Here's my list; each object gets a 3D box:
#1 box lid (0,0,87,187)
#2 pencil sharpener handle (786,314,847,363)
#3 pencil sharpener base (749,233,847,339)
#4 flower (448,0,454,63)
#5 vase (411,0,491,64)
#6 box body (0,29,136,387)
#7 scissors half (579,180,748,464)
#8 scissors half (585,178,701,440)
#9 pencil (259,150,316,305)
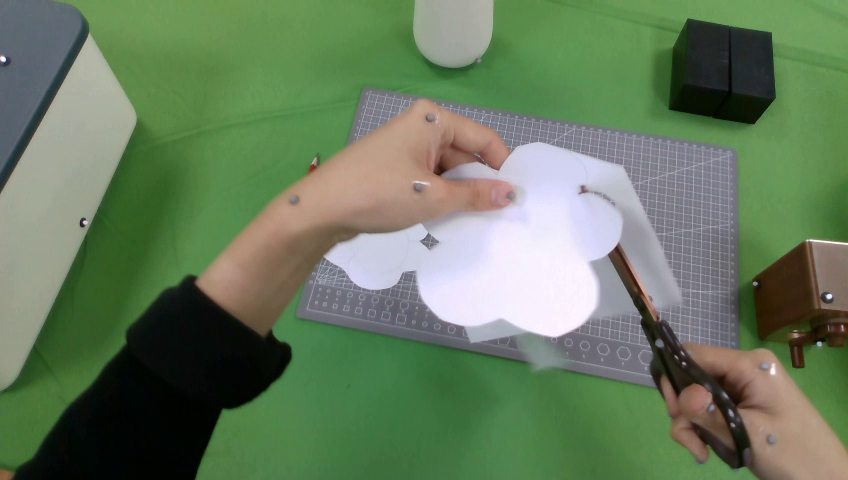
[{"bbox_3d":[-0.480,-0.087,0.522,0.263,0.015,0.369,11,66,3],"label":"box lid"},{"bbox_3d":[0.362,0.092,0.554,0.036,0.068,0.030,11,66,-11],"label":"pencil sharpener handle"},{"bbox_3d":[0.372,0.051,0.586,0.061,0.108,0.076,6,67,2],"label":"pencil sharpener base"},{"bbox_3d":[0.028,-0.342,0.611,0.044,0.365,0.038,3,48,5],"label":"flower"},{"bbox_3d":[0.032,-0.295,0.682,0.098,0.201,0.097,0,65,1],"label":"vase"},{"bbox_3d":[-0.480,-0.054,0.590,0.254,0.161,0.361,10,67,4],"label":"box body"},{"bbox_3d":[0.130,0.043,0.334,0.013,0.040,0.174,-27,83,-7],"label":"scissors half"},{"bbox_3d":[0.128,0.042,0.355,0.013,0.040,0.176,-27,104,-2],"label":"scissors half"},{"bbox_3d":[-0.146,-0.019,0.663,0.012,0.012,0.193,11,65,5],"label":"pencil"}]
